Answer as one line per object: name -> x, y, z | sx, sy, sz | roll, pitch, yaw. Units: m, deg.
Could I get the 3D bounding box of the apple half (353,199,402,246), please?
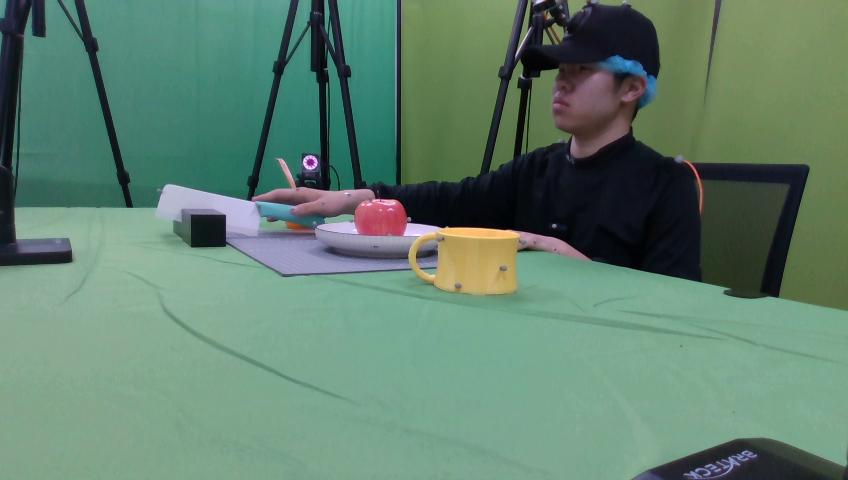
apple half -> -0.076, -0.029, 0.946 | 0.081, 0.081, 0.032 | 0, 13, -18

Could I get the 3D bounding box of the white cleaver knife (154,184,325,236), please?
white cleaver knife -> -0.309, -0.042, 1.048 | 0.288, 0.066, 0.021 | 10, 3, -28

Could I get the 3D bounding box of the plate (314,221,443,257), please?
plate -> -0.067, -0.002, 0.948 | 0.209, 0.038, 0.209 | 3, 7, 0

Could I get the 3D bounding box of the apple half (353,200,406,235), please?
apple half -> -0.064, -0.023, 0.909 | 0.081, 0.074, 0.053 | 4, 11, -17

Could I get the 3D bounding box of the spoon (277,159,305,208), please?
spoon -> -0.272, -0.103, 1.260 | 0.042, 0.193, 0.021 | -5, -34, -33

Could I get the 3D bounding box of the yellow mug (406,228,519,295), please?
yellow mug -> 0.044, 0.022, 0.707 | 0.131, 0.064, 0.100 | 2, 7, 5
